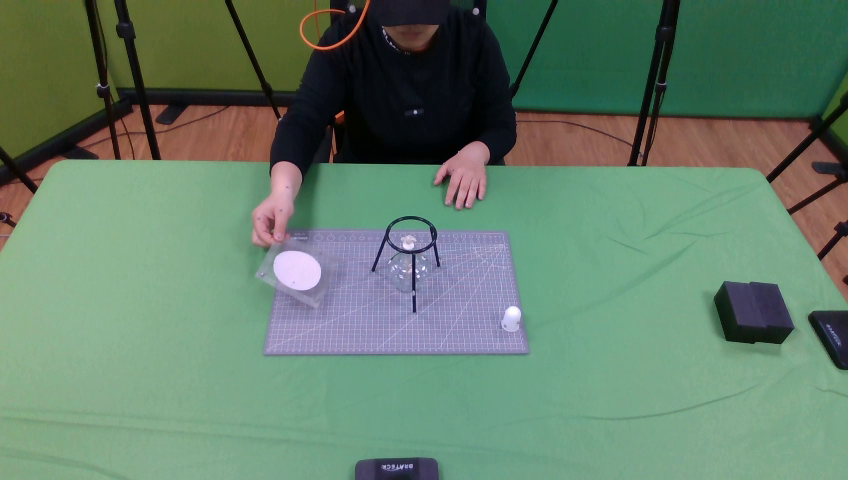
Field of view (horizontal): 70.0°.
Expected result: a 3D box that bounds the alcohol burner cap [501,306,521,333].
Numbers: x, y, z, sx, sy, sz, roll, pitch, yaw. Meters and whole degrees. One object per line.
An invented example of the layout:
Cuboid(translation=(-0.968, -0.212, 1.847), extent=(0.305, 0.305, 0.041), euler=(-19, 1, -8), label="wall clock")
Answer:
Cuboid(translation=(0.155, 0.137, 1.061), extent=(0.034, 0.048, 0.033), euler=(1, 45, -1), label="alcohol burner cap")

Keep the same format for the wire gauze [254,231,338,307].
Cuboid(translation=(-0.227, 0.048, 1.083), extent=(0.125, 0.011, 0.121), euler=(26, 44, -9), label="wire gauze")

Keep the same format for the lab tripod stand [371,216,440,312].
Cuboid(translation=(-0.029, 0.033, 1.084), extent=(0.148, 0.132, 0.147), euler=(1, 47, -1), label="lab tripod stand")

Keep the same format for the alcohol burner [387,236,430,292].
Cuboid(translation=(-0.028, 0.038, 1.093), extent=(0.078, 0.120, 0.077), euler=(1, 46, -1), label="alcohol burner")
